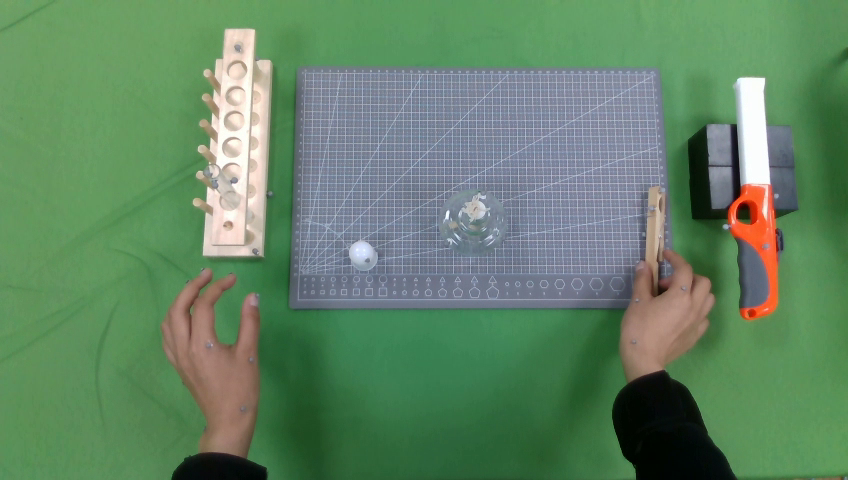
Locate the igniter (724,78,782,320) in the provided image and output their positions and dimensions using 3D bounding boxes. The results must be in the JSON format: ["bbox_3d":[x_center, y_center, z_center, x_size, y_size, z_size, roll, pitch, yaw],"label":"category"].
[{"bbox_3d":[0.364,-0.049,0.674,0.057,0.025,0.275,2,79,5],"label":"igniter"}]

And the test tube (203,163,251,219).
[{"bbox_3d":[-0.201,-0.047,0.628,0.017,0.150,0.017,1,77,-4],"label":"test tube"}]

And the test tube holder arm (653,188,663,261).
[{"bbox_3d":[0.272,-0.018,0.715,0.010,0.015,0.087,15,77,-29],"label":"test tube holder arm"}]

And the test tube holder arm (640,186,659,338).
[{"bbox_3d":[0.262,0.024,0.703,0.013,0.015,0.177,15,77,-29],"label":"test tube holder arm"}]

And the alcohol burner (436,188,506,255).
[{"bbox_3d":[0.053,-0.024,0.663,0.078,0.119,0.077,0,81,0],"label":"alcohol burner"}]

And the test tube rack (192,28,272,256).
[{"bbox_3d":[-0.221,-0.108,0.688,0.067,0.085,0.241,0,80,0],"label":"test tube rack"}]

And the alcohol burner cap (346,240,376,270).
[{"bbox_3d":[-0.073,0.015,0.689,0.034,0.048,0.033,0,79,-1],"label":"alcohol burner cap"}]
